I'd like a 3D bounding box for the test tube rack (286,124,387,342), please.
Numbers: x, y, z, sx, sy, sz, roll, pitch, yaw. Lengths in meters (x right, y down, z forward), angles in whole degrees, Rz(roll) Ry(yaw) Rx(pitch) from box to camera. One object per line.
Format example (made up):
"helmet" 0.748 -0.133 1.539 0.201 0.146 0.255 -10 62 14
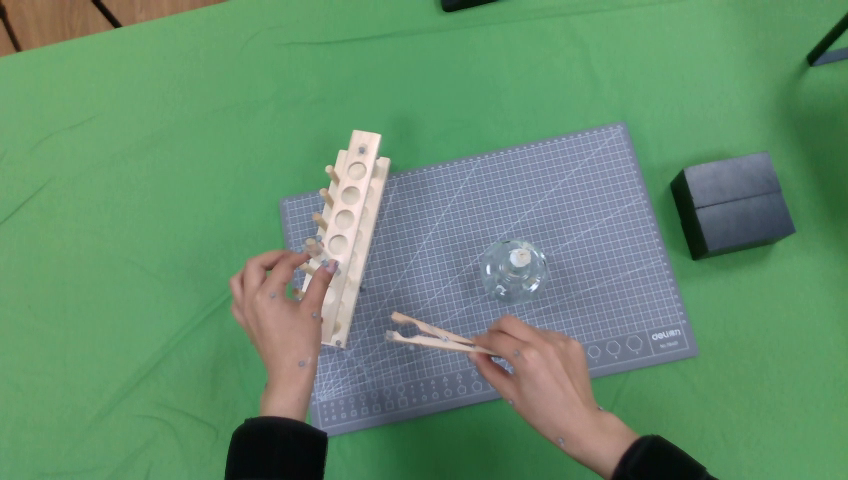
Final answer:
"test tube rack" -0.108 -0.009 0.708 0.066 0.085 0.241 11 77 7

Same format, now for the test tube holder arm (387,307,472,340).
"test tube holder arm" 0.006 0.086 0.603 0.087 0.015 0.010 18 72 15

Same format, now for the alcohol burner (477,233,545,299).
"alcohol burner" 0.098 0.025 0.673 0.078 0.120 0.077 -1 75 2

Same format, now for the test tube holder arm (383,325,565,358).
"test tube holder arm" 0.047 0.099 0.592 0.178 0.015 0.013 7 70 11

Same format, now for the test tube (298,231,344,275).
"test tube" -0.105 0.017 0.636 0.017 0.151 0.017 -1 75 4
